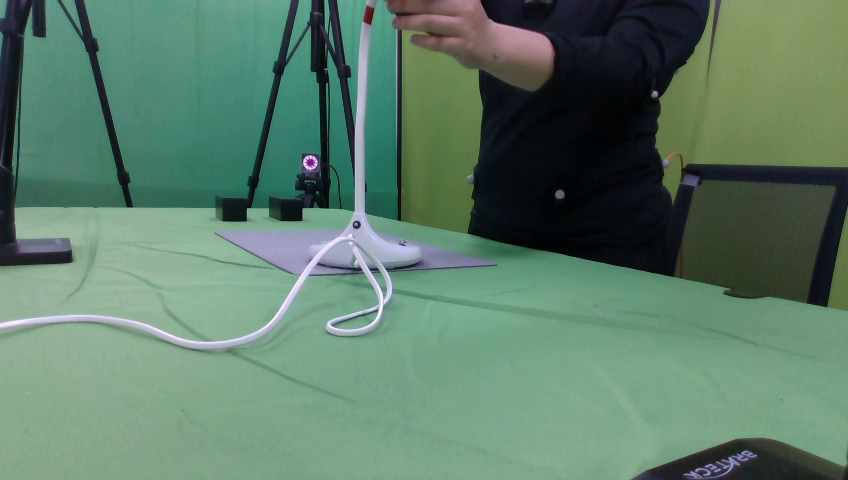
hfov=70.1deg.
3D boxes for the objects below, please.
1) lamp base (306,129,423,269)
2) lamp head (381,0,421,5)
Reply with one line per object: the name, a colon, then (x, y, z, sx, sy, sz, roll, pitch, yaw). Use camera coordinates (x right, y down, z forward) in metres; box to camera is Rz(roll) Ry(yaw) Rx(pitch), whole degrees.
lamp base: (-0.078, -0.057, 0.810, 0.161, 0.180, 0.179, 1, 10, -4)
lamp head: (-0.029, -0.326, 0.669, 0.112, 0.123, 0.112, 3, 3, 0)
